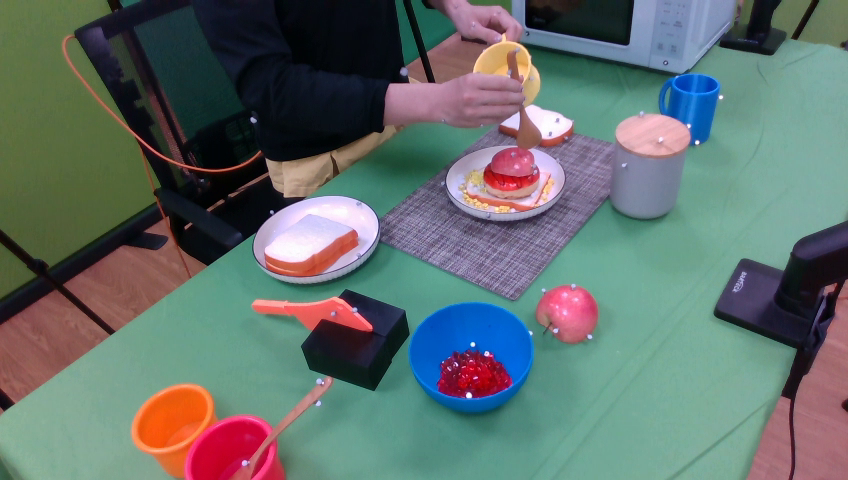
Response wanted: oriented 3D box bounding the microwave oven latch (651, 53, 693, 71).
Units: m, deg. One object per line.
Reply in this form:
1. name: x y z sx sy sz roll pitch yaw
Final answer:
1. microwave oven latch: 0.532 -0.386 1.301 0.078 0.029 0.030 27 52 34

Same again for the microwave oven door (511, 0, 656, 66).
1. microwave oven door: 0.350 -0.539 1.349 0.353 0.245 0.039 24 50 31

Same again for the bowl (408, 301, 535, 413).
1. bowl: 0.059 0.156 0.739 0.151 0.077 0.150 -4 40 4

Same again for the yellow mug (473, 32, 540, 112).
1. yellow mug: 0.140 -0.291 1.023 0.099 0.064 0.130 -5 74 23

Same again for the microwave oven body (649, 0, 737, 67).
1. microwave oven body: 0.475 -0.602 1.411 0.438 0.261 0.327 23 50 32

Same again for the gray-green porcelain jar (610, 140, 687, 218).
1. gray-green porcelain jar: 0.354 -0.106 0.964 0.106 0.127 0.105 -4 41 4

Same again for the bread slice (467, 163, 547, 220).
1. bread slice: 0.143 -0.088 1.051 0.134 0.018 0.107 14 49 12

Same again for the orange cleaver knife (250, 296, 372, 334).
1. orange cleaver knife: -0.159 0.103 0.828 0.210 0.078 0.012 -4 43 39

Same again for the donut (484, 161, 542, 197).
1. donut: 0.149 -0.109 1.016 0.099 0.048 0.098 -4 40 4

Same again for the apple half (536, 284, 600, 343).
1. apple half: 0.196 0.091 0.815 0.075 0.053 0.080 -22 42 -20

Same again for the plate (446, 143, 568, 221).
1. plate: 0.142 -0.097 1.045 0.207 0.039 0.206 -4 40 4

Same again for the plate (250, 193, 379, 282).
1. plate: -0.174 -0.001 0.984 0.209 0.038 0.208 -4 40 3

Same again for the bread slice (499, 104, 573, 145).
1. bread slice: 0.231 -0.231 1.205 0.105 0.019 0.130 -37 47 -28

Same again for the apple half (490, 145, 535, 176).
1. apple half: 0.147 -0.139 0.994 0.081 0.033 0.081 2 38 -1

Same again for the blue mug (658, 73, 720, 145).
1. blue mug: 0.483 -0.250 1.127 0.082 0.106 0.115 -26 44 -19

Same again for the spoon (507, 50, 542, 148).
1. spoon: 0.140 -0.198 0.874 0.041 0.195 0.021 -18 50 8

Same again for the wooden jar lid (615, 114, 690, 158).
1. wooden jar lid: 0.347 -0.155 0.923 0.108 0.021 0.108 -3 44 4

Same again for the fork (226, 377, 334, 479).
1. fork: -0.163 0.216 0.647 0.207 0.019 0.028 -49 41 16
